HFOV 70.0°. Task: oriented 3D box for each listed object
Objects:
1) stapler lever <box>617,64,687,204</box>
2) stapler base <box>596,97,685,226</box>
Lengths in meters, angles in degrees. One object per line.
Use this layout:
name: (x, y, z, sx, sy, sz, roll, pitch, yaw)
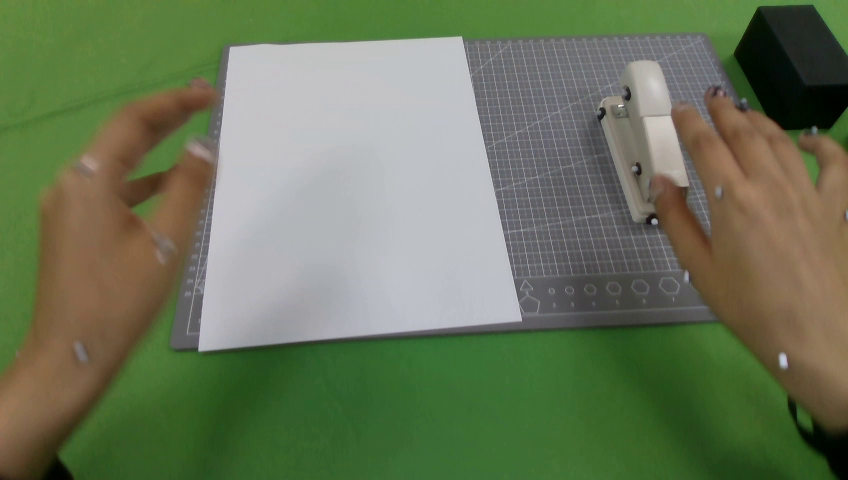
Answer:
stapler lever: (0.171, -0.083, 0.456, 0.027, 0.040, 0.117, -5, 58, -2)
stapler base: (0.170, -0.071, 0.478, 0.041, 0.024, 0.129, -4, 58, -2)
